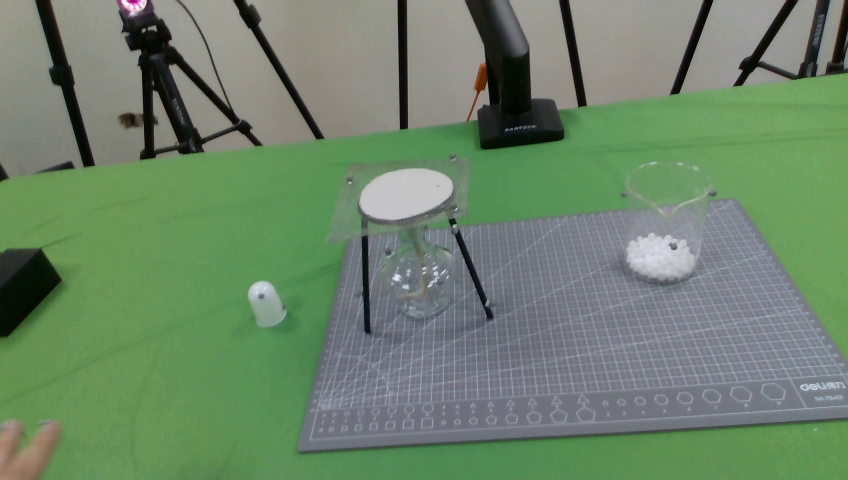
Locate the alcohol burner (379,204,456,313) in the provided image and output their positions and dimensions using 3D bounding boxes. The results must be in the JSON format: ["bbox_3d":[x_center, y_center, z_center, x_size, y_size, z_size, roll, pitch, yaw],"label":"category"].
[{"bbox_3d":[-0.008,0.013,0.588,0.078,0.120,0.077,-5,38,4],"label":"alcohol burner"}]

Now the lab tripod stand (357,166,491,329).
[{"bbox_3d":[-0.008,0.005,0.583,0.148,0.133,0.147,-8,35,6],"label":"lab tripod stand"}]

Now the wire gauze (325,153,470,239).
[{"bbox_3d":[-0.019,-0.046,0.539,0.121,0.011,0.124,-6,35,8],"label":"wire gauze"}]

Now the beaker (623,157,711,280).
[{"bbox_3d":[0.230,-0.017,0.583,0.073,0.101,0.083,3,40,19],"label":"beaker"}]

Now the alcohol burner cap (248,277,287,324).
[{"bbox_3d":[-0.164,0.060,0.629,0.034,0.048,0.033,-6,38,5],"label":"alcohol burner cap"}]
